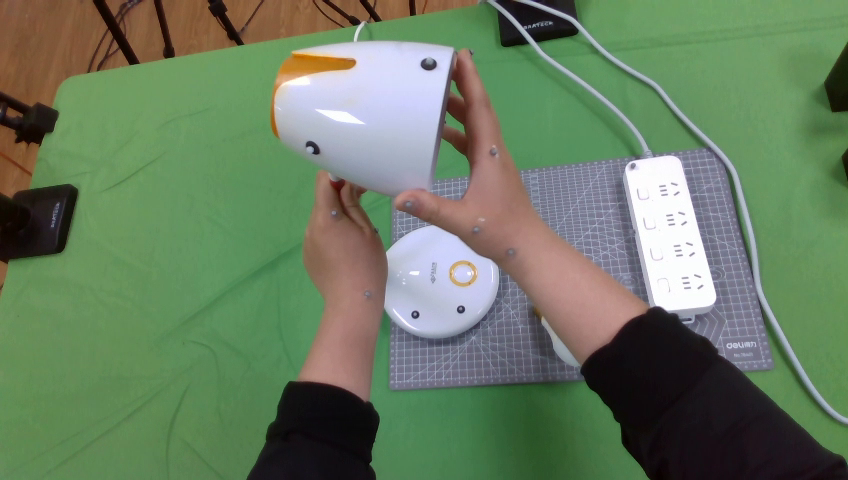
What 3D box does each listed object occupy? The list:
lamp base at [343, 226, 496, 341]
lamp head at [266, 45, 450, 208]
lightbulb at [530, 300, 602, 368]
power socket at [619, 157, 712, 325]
[{"bbox_3d":[-0.014,0.025,0.727,0.179,0.182,0.159,-12,64,10],"label":"lamp base"},{"bbox_3d":[-0.047,-0.084,0.432,0.123,0.113,0.111,8,67,5],"label":"lamp head"},{"bbox_3d":[0.165,0.108,0.725,0.059,0.060,0.106,-39,48,-7],"label":"lightbulb"},{"bbox_3d":[0.298,-0.007,0.757,0.072,0.033,0.225,-7,64,8],"label":"power socket"}]
